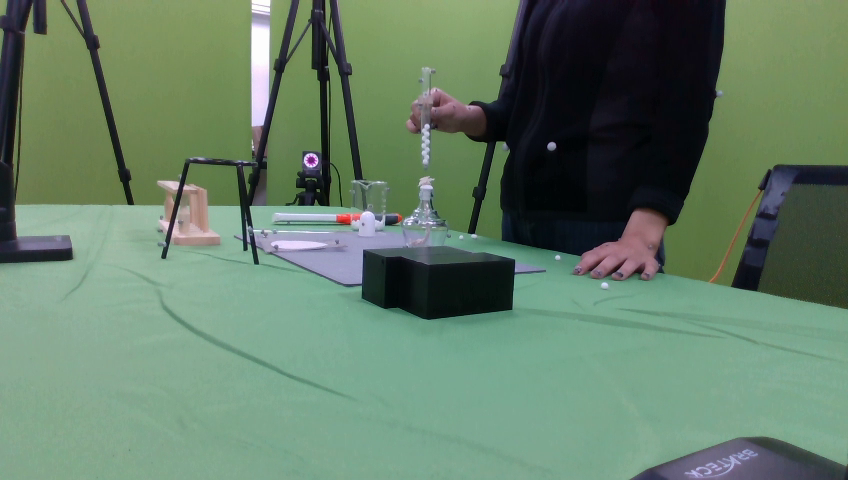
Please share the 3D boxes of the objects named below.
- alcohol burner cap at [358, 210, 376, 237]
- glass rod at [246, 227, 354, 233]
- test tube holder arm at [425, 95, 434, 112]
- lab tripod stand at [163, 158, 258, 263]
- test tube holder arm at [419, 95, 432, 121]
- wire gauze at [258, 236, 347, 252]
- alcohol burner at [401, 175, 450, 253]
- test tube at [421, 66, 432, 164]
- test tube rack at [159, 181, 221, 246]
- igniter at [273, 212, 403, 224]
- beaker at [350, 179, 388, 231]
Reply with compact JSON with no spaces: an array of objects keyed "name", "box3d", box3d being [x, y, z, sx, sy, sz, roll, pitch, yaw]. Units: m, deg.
[{"name":"alcohol burner cap","box3d":[-0.104,-0.030,1.098,0.034,0.048,0.034,3,7,0]},{"name":"glass rod","box3d":[-0.224,-0.017,1.108,0.201,0.008,0.008,1,7,-27]},{"name":"test tube holder arm","box3d":[0.008,-0.216,0.960,0.010,0.015,0.087,5,3,-4]},{"name":"lab tripod stand","box3d":[-0.265,-0.041,0.802,0.148,0.131,0.148,4,7,0]},{"name":"test tube holder arm","box3d":[0.003,-0.218,1.005,0.013,0.015,0.178,6,3,3]},{"name":"wire gauze","box3d":[-0.189,0.005,0.931,0.122,0.011,0.124,1,7,-21]},{"name":"alcohol burner","box3d":[0.003,-0.040,0.933,0.078,0.119,0.078,2,9,0]},{"name":"test tube","box3d":[0.004,-0.193,0.937,0.017,0.150,0.017,0,1,0]},{"name":"test tube rack","box3d":[-0.395,-0.050,1.010,0.067,0.085,0.241,-2,8,-28]},{"name":"igniter","box3d":[-0.179,-0.048,1.290,0.278,0.025,0.057,-1,-2,-24]},{"name":"beaker","box3d":[-0.111,-0.069,1.204,0.074,0.100,0.084,2,8,0]}]
